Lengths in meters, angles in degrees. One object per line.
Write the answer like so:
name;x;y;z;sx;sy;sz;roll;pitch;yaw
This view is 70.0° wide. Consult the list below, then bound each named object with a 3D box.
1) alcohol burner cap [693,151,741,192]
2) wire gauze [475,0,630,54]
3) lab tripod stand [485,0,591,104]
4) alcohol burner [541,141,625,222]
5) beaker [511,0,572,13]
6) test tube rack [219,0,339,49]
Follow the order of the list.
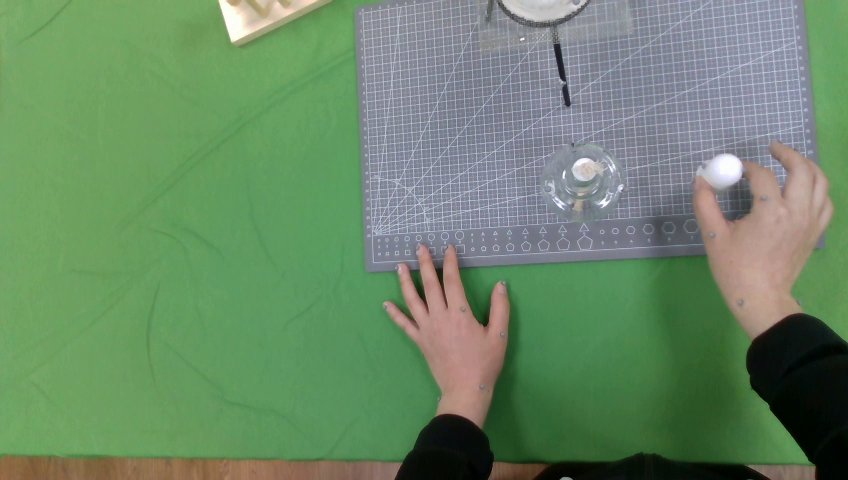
alcohol burner cap;0.255;-0.061;0.524;0.034;0.048;0.034;-1;84;10
wire gauze;0.102;-0.220;0.502;0.125;0.011;0.121;-4;89;11
lab tripod stand;0.118;-0.214;0.565;0.148;0.132;0.148;-1;87;13
alcohol burner;0.147;-0.057;0.559;0.078;0.119;0.077;-1;86;13
beaker;0.085;-0.223;0.456;0.083;0.100;0.074;10;89;15
test tube rack;-0.131;-0.303;0.661;0.242;0.085;0.066;-21;81;12
